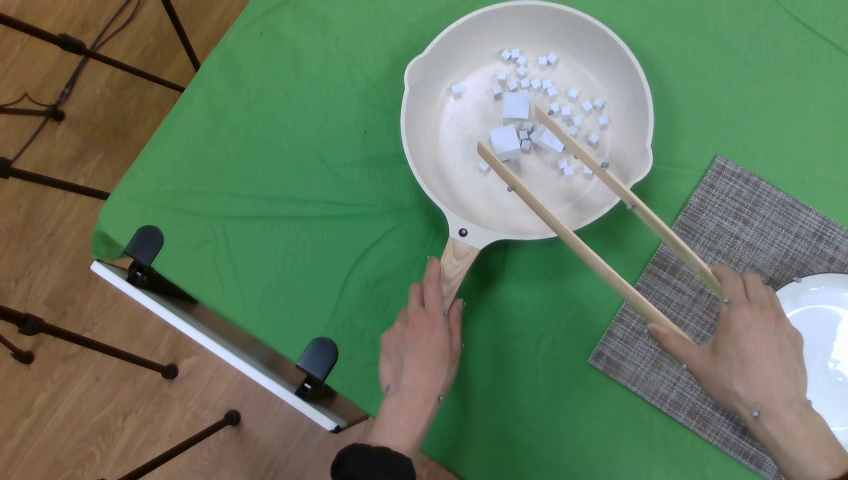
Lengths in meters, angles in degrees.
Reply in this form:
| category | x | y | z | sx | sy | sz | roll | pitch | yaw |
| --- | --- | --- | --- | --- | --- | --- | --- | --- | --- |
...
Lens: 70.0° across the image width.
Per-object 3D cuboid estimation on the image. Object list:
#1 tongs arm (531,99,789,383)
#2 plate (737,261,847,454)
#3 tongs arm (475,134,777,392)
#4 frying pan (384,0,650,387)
| category | x | y | z | sx | sy | sz | roll | pitch | yaw |
| --- | --- | --- | --- | --- | --- | --- | --- | --- | --- |
| tongs arm | 0.218 | -0.016 | 0.623 | 0.051 | 0.027 | 0.381 | -34 | 63 | -12 |
| plate | 0.453 | 0.128 | 0.674 | 0.207 | 0.039 | 0.207 | -1 | 80 | 5 |
| tongs arm | 0.179 | 0.010 | 0.615 | 0.028 | 0.028 | 0.384 | -35 | 63 | -16 |
| frying pan | 0.070 | -0.056 | 0.706 | 0.306 | 0.103 | 0.486 | 25 | 75 | 9 |
